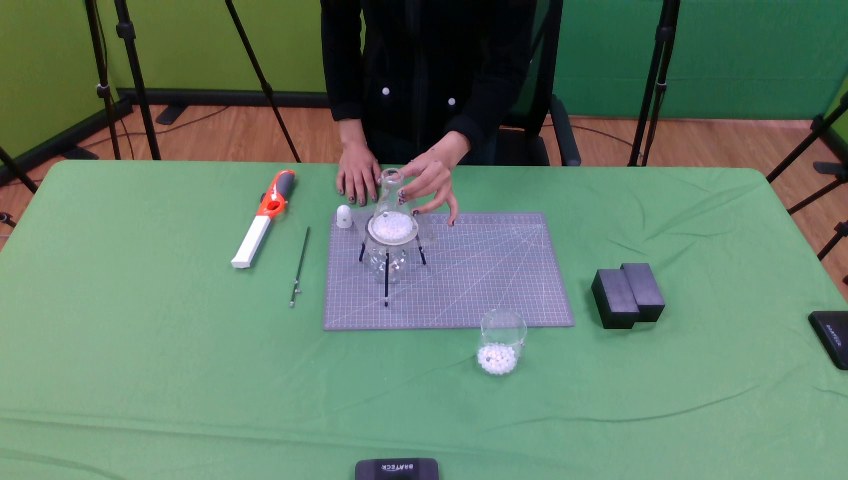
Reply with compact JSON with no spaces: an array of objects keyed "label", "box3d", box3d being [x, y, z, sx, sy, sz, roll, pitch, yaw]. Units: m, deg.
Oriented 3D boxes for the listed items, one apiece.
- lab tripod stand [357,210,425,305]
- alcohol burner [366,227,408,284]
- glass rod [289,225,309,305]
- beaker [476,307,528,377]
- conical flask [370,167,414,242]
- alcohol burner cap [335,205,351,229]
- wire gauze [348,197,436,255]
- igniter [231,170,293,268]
[{"label":"lab tripod stand","box3d":[-0.060,0.020,1.094,0.148,0.132,0.147,3,44,-2]},{"label":"alcohol burner","box3d":[-0.068,0.024,1.104,0.078,0.120,0.077,1,45,-1]},{"label":"glass rod","box3d":[-0.236,0.042,1.149,0.008,0.008,0.198,3,46,-1]},{"label":"beaker","box3d":[0.122,0.171,0.991,0.084,0.101,0.073,-34,56,-30]},{"label":"conical flask","box3d":[-0.053,-0.062,0.998,0.075,0.122,0.075,2,45,-1]},{"label":"alcohol burner cap","box3d":[-0.164,-0.049,1.216,0.034,0.048,0.033,2,45,-2]},{"label":"wire gauze","box3d":[-0.056,-0.025,1.046,0.125,0.011,0.120,-13,47,-15]},{"label":"igniter","box3d":[-0.321,-0.051,1.220,0.057,0.025,0.275,1,45,11]}]
